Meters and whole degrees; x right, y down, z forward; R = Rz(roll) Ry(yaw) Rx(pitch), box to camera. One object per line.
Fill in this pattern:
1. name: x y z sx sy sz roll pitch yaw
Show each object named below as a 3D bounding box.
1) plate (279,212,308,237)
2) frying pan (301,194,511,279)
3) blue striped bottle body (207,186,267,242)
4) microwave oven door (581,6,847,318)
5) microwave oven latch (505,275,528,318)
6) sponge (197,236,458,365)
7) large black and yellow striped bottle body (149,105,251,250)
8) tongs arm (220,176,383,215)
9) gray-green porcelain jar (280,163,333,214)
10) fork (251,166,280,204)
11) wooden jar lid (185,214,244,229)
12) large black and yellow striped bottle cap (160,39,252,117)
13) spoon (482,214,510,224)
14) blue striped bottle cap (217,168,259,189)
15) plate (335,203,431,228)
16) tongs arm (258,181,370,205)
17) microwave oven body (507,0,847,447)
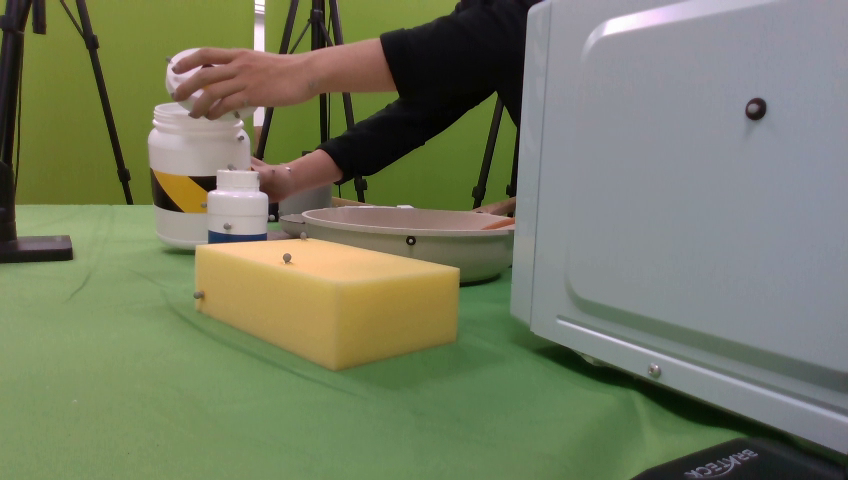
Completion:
1. plate: -0.139 -0.022 1.021 0.209 0.038 0.209 2 8 0
2. frying pan: 0.050 -0.028 0.864 0.305 0.102 0.490 8 18 35
3. blue striped bottle body: -0.204 -0.016 0.663 0.063 0.120 0.063 2 7 0
4. microwave oven door: 0.295 -0.067 0.569 0.358 0.243 0.039 -3 8 -31
5. microwave oven latch: 0.100 0.041 0.472 0.079 0.029 0.030 -2 8 -31
6. sponge: -0.087 0.039 0.500 0.206 0.061 0.119 8 9 44
7. large black and yellow striped bottle body: -0.308 -0.091 0.845 0.131 0.184 0.130 3 20 -1
8. tongs arm: -0.285 -0.104 1.445 0.389 0.027 0.028 9 -4 -23
9. gray-green porcelain jar: -0.238 -0.092 1.221 0.106 0.126 0.106 2 7 0
10. fork: -0.396 -0.143 1.486 0.028 0.018 0.208 20 -26 45
11. wooden jar lid: -0.404 -0.037 1.169 0.108 0.020 0.108 3 7 0
12. large black and yellow striped bottle cap: -0.283 -0.204 0.792 0.115 0.115 0.018 -4 16 -37
13. spoon: 0.076 -0.013 0.794 0.193 0.021 0.042 -24 -3 11
14. blue striped bottle cap: -0.202 -0.067 0.656 0.044 0.020 0.044 1 10 0
15. plate: -0.089 -0.053 1.309 0.208 0.039 0.207 2 8 0
16. tongs arm: -0.241 -0.095 1.373 0.387 0.026 0.050 9 0 -37
17. microwave oven body: 0.331 -0.042 0.425 0.444 0.260 0.324 -2 8 -31
